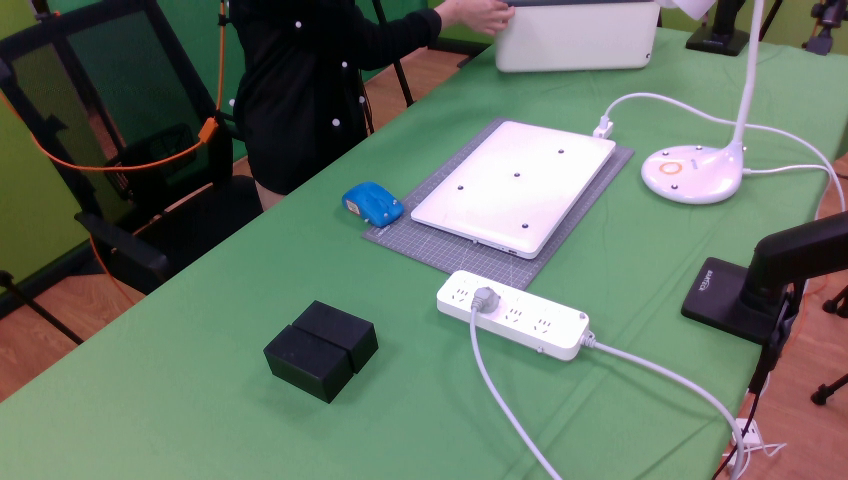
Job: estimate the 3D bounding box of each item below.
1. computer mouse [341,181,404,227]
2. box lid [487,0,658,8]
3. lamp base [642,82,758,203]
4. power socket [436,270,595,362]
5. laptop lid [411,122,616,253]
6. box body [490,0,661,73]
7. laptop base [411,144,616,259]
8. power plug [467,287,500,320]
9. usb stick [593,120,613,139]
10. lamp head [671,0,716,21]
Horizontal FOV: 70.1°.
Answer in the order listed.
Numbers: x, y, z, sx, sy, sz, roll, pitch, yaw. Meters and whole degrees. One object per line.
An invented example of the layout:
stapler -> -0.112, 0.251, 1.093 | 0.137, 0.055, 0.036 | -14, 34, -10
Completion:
computer mouse -> -0.091, -0.066, 1.052 | 0.063, 0.041, 0.116 | -33, 48, -28
box lid -> 0.336, -0.582, 1.375 | 0.371, 0.015, 0.262 | 1, 40, 10
lamp base -> 0.464, -0.174, 0.992 | 0.179, 0.181, 0.159 | -5, 41, -2
power socket -> 0.118, 0.101, 0.832 | 0.225, 0.033, 0.072 | 19, 48, 27
laptop lid -> 0.165, -0.111, 1.067 | 0.240, 0.013, 0.357 | 19, 46, 31
box body -> 0.347, -0.521, 1.429 | 0.363, 0.161, 0.253 | 1, 41, 9
laptop base -> 0.168, -0.101, 1.073 | 0.234, 0.023, 0.355 | 17, 46, 31
power plug -> 0.073, 0.092, 0.814 | 0.035, 0.053, 0.073 | 29, 54, 34
usb stick -> 0.336, -0.201, 1.147 | 0.021, 0.027, 0.059 | 27, 53, 27
lamp head -> 0.375, -0.373, 0.807 | 0.122, 0.113, 0.112 | -40, 27, 32
